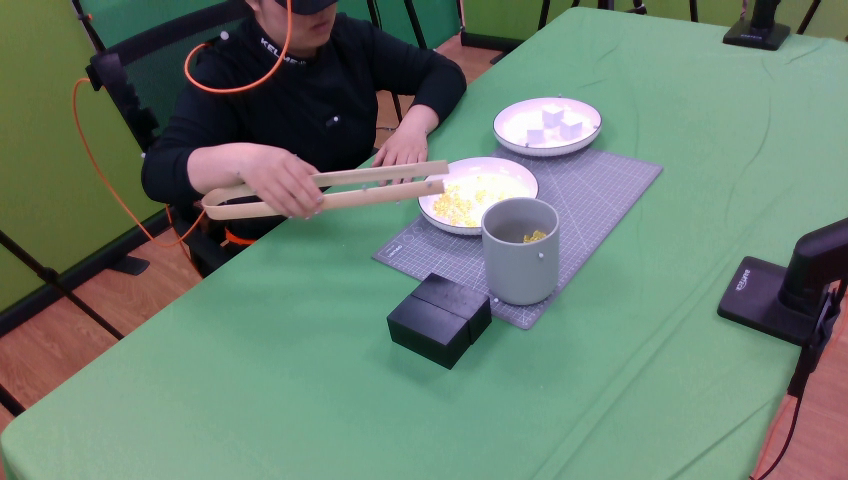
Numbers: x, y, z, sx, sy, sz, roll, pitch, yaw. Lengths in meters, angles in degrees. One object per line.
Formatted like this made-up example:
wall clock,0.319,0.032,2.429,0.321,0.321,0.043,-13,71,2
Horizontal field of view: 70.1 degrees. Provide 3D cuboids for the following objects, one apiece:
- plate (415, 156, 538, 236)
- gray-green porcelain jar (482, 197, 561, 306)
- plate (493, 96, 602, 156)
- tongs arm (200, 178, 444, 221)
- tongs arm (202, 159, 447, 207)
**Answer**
plate,0.090,-0.072,1.034,0.207,0.039,0.206,-5,40,5
gray-green porcelain jar,0.138,0.020,0.846,0.106,0.127,0.105,-5,40,5
plate,0.238,-0.218,1.179,0.209,0.038,0.208,-4,39,4
tongs arm,-0.159,-0.066,0.905,0.384,0.027,0.050,-8,40,9
tongs arm,-0.156,-0.087,0.930,0.387,0.028,0.028,-7,43,10
